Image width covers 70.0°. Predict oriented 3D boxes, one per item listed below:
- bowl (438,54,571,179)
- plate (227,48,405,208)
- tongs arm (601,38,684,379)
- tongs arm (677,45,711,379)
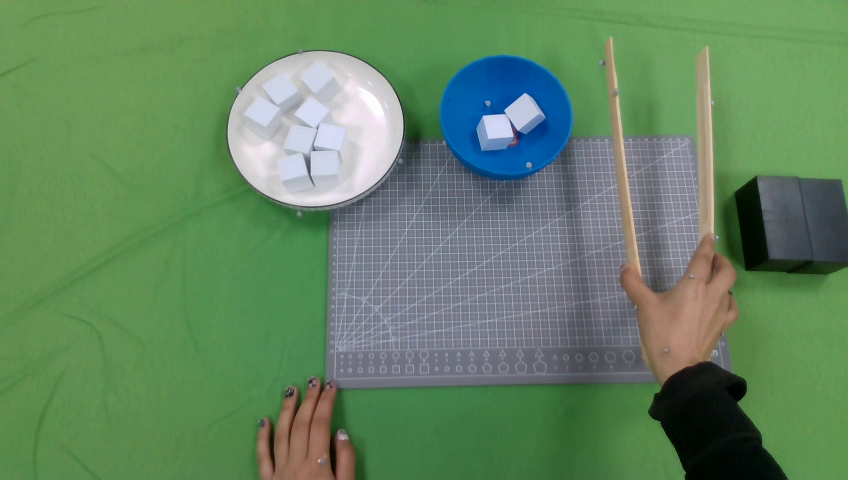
[{"bbox_3d":[0.089,-0.132,0.710,0.151,0.077,0.150,1,73,-2],"label":"bowl"},{"bbox_3d":[-0.126,-0.131,0.725,0.208,0.039,0.206,0,72,-1],"label":"plate"},{"bbox_3d":[0.233,-0.045,0.658,0.051,0.026,0.382,2,75,-7],"label":"tongs arm"},{"bbox_3d":[0.296,-0.042,0.663,0.028,0.028,0.385,10,74,-8],"label":"tongs arm"}]
